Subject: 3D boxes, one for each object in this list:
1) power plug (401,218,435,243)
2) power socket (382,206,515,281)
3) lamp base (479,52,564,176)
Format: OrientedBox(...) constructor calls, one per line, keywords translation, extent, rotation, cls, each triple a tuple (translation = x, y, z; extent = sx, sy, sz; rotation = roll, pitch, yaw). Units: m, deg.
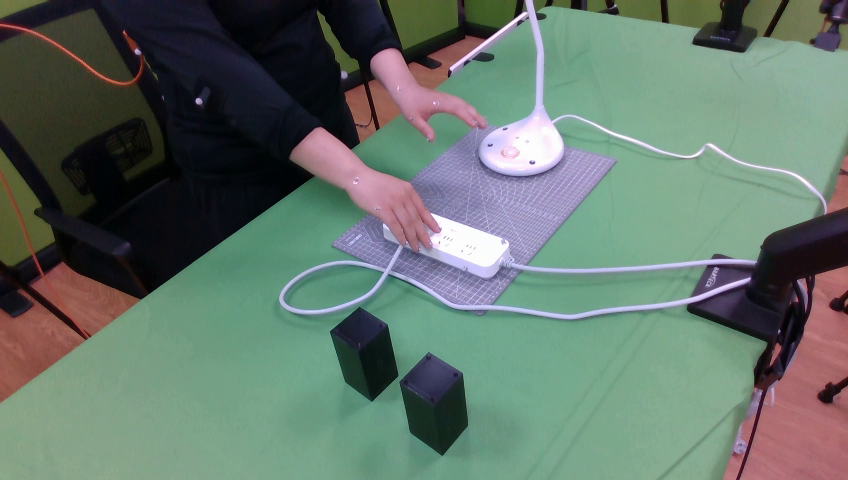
OrientedBox(translation=(-0.014, -0.006, 0.937), extent=(0.073, 0.053, 0.035), rotation=(-36, 47, -26), cls="power plug")
OrientedBox(translation=(0.032, 0.002, 0.950), extent=(0.225, 0.033, 0.072), rotation=(21, 49, 29), cls="power socket")
OrientedBox(translation=(0.181, -0.235, 1.093), extent=(0.159, 0.181, 0.179), rotation=(18, 44, 27), cls="lamp base")
